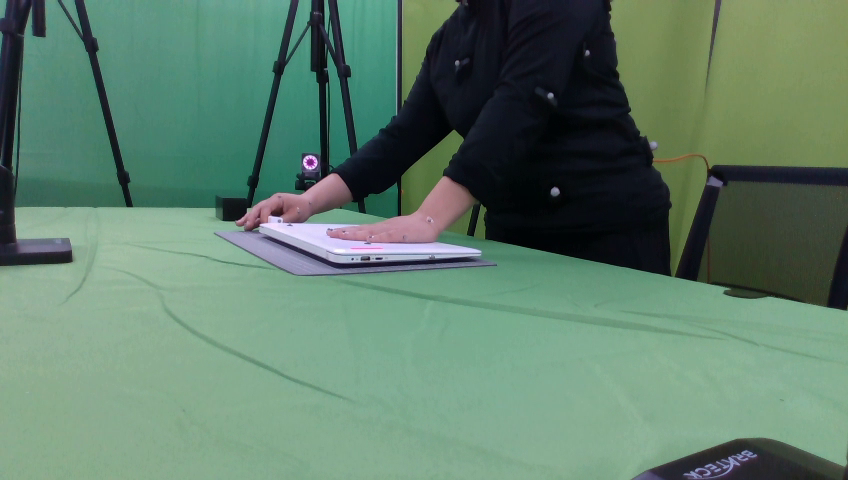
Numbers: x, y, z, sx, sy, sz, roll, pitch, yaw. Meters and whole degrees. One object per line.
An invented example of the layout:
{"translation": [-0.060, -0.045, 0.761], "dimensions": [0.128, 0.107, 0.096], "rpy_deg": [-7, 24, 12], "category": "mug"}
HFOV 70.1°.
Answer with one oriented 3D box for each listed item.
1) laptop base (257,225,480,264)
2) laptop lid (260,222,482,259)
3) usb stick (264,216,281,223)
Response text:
{"translation": [-0.103, 0.007, 0.962], "dimensions": [0.237, 0.023, 0.352], "rpy_deg": [3, 6, -32], "category": "laptop base"}
{"translation": [-0.100, -0.003, 0.962], "dimensions": [0.243, 0.013, 0.355], "rpy_deg": [2, 7, -30], "category": "laptop lid"}
{"translation": [-0.272, -0.029, 1.091], "dimensions": [0.021, 0.027, 0.059], "rpy_deg": [5, 4, -26], "category": "usb stick"}
